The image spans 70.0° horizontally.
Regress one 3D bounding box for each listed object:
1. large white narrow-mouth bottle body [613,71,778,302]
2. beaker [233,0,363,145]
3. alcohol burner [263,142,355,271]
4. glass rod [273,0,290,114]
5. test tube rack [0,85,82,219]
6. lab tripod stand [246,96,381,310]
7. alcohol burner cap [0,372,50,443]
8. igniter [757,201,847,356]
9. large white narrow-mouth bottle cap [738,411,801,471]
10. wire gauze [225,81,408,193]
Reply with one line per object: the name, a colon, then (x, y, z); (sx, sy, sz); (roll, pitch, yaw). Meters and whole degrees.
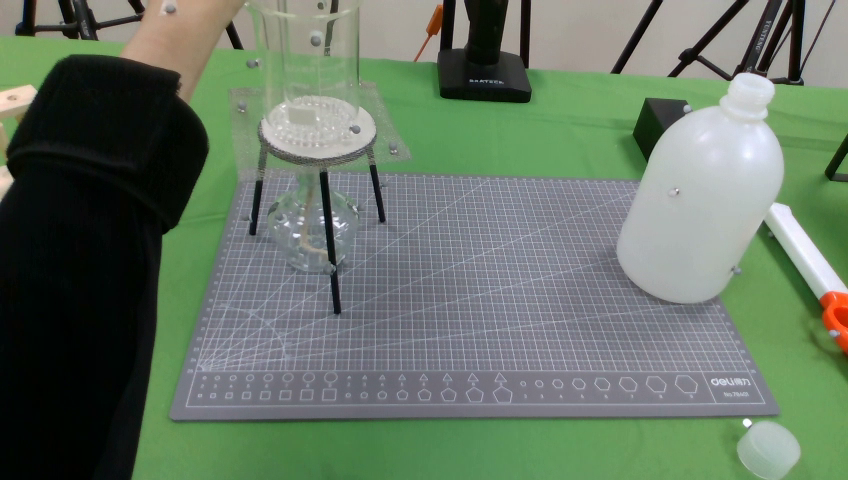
large white narrow-mouth bottle body: (0.231, -0.045, 0.506); (0.102, 0.196, 0.101); (3, 42, -2)
beaker: (-0.086, -0.125, 0.429); (0.084, 0.101, 0.073); (-3, 45, -11)
alcohol burner: (-0.097, -0.032, 0.511); (0.078, 0.120, 0.077); (5, 41, -4)
glass rod: (-0.097, -0.174, 0.395); (0.008, 0.201, 0.008); (4, 38, -2)
test tube rack: (-0.438, -0.046, 0.509); (0.242, 0.086, 0.066); (-30, 54, -34)
lab tripod stand: (-0.087, -0.037, 0.503); (0.148, 0.132, 0.147); (5, 43, -4)
alcohol burner cap: (-0.269, 0.107, 0.395); (0.034, 0.048, 0.033); (5, 41, -4)
igniter: (0.366, 0.057, 0.539); (0.057, 0.025, 0.273); (10, 41, -12)
large white narrow-mouth bottle cap: (0.247, 0.144, 0.434); (0.038, 0.024, 0.037); (3, 42, -2)
wire gauze: (-0.085, -0.087, 0.461); (0.122, 0.011, 0.123); (-10, 48, -14)
